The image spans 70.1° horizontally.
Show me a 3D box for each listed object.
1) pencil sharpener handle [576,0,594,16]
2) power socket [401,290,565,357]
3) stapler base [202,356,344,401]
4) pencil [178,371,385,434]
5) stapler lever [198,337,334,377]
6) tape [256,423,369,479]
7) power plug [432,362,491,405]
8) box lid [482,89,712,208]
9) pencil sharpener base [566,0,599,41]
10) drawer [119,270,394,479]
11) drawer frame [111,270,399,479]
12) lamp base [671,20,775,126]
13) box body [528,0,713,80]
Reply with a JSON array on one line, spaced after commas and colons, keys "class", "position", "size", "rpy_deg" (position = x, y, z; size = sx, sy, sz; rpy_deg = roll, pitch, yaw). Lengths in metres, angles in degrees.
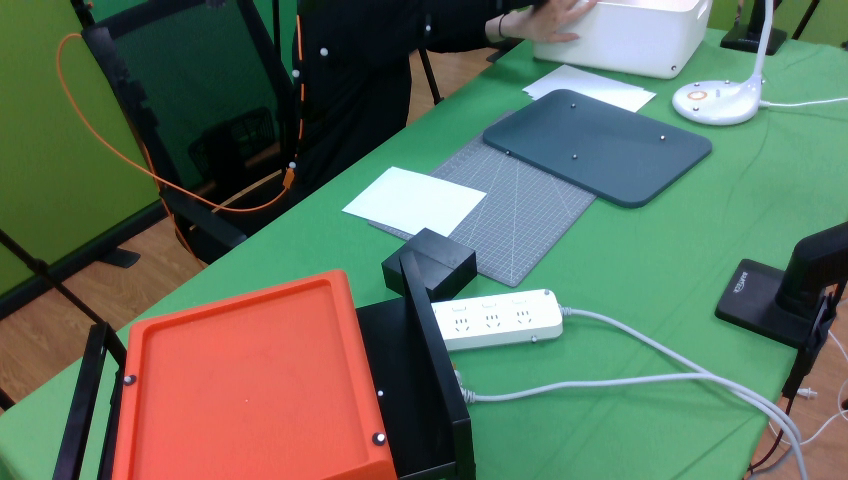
[{"class": "pencil sharpener handle", "position": [0.404, -0.596, 1.516], "size": [0.036, 0.067, 0.031], "rpy_deg": [35, 43, 2]}, {"class": "power socket", "position": [0.080, 0.113, 0.821], "size": [0.227, 0.033, 0.072], "rpy_deg": [-6, 41, 0]}, {"class": "stapler base", "position": [-0.141, 0.124, 0.557], "size": [0.130, 0.024, 0.041], "rpy_deg": [-2, 43, 3]}, {"class": "pencil", "position": [-0.128, 0.141, 0.534], "size": [0.194, 0.012, 0.012], "rpy_deg": [14, 44, 7]}, {"class": "stapler lever", "position": [-0.142, 0.105, 0.541], "size": [0.118, 0.040, 0.026], "rpy_deg": [-3, 43, 4]}, {"class": "tape", "position": [-0.121, 0.262, 0.660], "size": [0.117, 0.053, 0.116], "rpy_deg": [-4, 40, 4]}, {"class": "power plug", "position": [0.044, 0.182, 0.759], "size": [0.073, 0.035, 0.052], "rpy_deg": [23, 42, -19]}, {"class": "box lid", "position": [0.320, -0.190, 1.156], "size": [0.264, 0.015, 0.368], "rpy_deg": [-33, 47, -28]}, {"class": "pencil sharpener base", "position": [0.390, -0.555, 1.485], "size": [0.061, 0.107, 0.077], "rpy_deg": [12, 39, 21]}, {"class": "drawer", "position": [-0.141, 0.139, 0.509], "size": [0.195, 0.073, 0.210], "rpy_deg": [-14, 42, -8]}, {"class": "drawer frame", "position": [-0.140, 0.140, 0.506], "size": [0.202, 0.083, 0.212], "rpy_deg": [-15, 41, -9]}, {"class": "lamp base", "position": [0.582, -0.332, 1.153], "size": [0.179, 0.181, 0.160], "rpy_deg": [2, 41, 7]}, {"class": "box body", "position": [0.451, -0.513, 1.398], "size": [0.361, 0.161, 0.254], "rpy_deg": [19, 48, 28]}]
